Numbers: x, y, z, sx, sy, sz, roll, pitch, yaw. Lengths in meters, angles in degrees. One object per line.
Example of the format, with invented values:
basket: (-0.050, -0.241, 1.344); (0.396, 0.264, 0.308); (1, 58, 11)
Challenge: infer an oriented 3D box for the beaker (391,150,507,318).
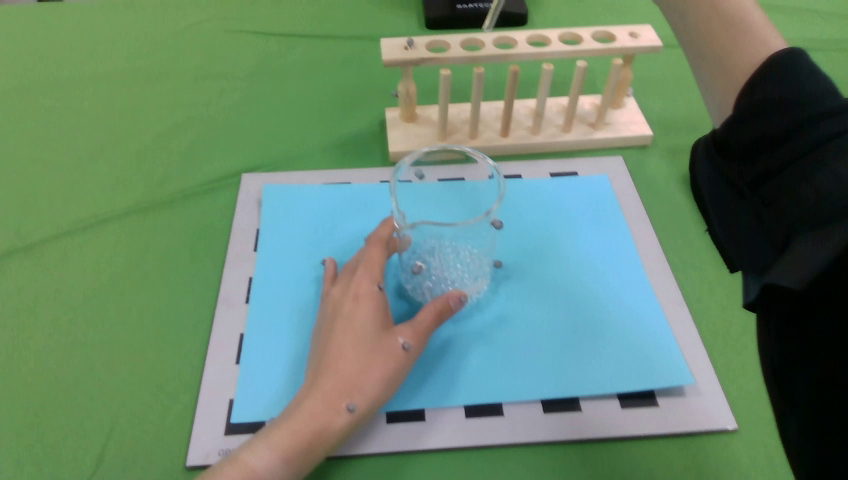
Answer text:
beaker: (0.014, 0.002, 0.419); (0.073, 0.101, 0.084); (34, 57, 27)

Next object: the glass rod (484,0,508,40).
glass rod: (0.075, -0.206, 0.365); (0.008, 0.201, 0.008); (11, 50, -14)

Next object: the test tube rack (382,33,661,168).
test tube rack: (0.086, -0.126, 0.548); (0.242, 0.086, 0.066); (-4, 48, -4)
